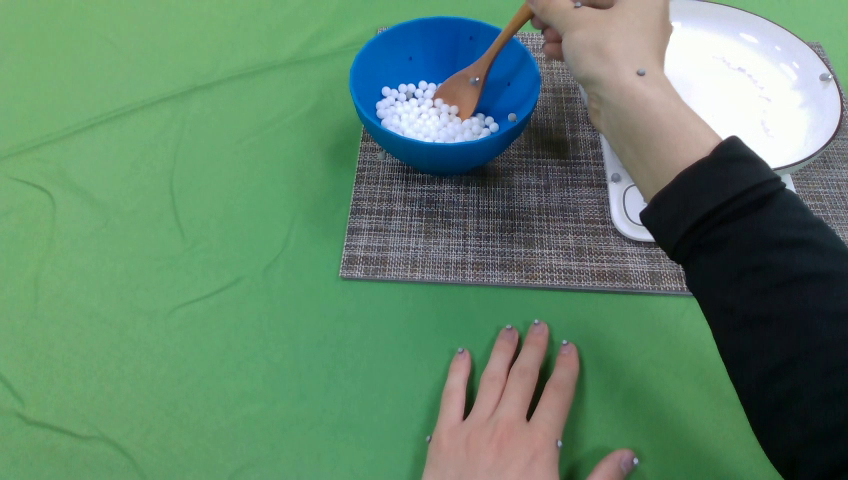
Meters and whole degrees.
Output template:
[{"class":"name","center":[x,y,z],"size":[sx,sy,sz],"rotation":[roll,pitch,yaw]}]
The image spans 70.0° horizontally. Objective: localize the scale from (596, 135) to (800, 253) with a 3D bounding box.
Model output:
[{"class":"scale","center":[0.224,-0.079,0.517],"size":[0.148,0.032,0.199],"rotation":[2,55,2]}]

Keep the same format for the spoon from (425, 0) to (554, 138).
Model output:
[{"class":"spoon","center":[0.060,-0.146,0.464],"size":[0.022,0.194,0.041],"rotation":[-15,70,-42]}]

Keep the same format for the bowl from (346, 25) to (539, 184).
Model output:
[{"class":"bowl","center":[0.015,-0.100,0.504],"size":[0.151,0.077,0.150],"rotation":[0,55,1]}]

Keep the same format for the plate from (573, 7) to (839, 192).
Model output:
[{"class":"plate","center":[0.226,-0.117,0.504],"size":[0.209,0.038,0.207],"rotation":[1,55,0]}]
